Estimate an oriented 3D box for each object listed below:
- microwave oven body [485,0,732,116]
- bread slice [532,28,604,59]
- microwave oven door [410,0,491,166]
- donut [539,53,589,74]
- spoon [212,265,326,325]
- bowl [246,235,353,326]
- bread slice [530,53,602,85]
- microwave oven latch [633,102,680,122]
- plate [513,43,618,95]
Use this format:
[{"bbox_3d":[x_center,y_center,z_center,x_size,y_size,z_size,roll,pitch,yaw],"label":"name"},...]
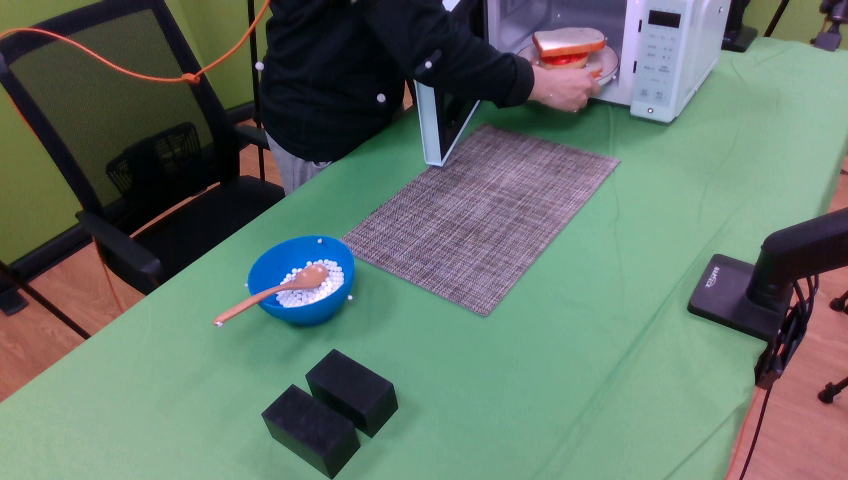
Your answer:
[{"bbox_3d":[0.377,-0.463,1.267,0.438,0.261,0.327,21,49,30],"label":"microwave oven body"},{"bbox_3d":[0.284,-0.389,1.184,0.131,0.019,0.104,-7,39,0],"label":"bread slice"},{"bbox_3d":[0.063,-0.342,1.164,0.039,0.245,0.355,9,43,18],"label":"microwave oven door"},{"bbox_3d":[0.279,-0.365,1.203,0.099,0.048,0.098,-4,44,5],"label":"donut"},{"bbox_3d":[-0.207,0.072,0.822,0.041,0.021,0.195,27,29,27],"label":"spoon"},{"bbox_3d":[-0.170,0.070,0.868,0.151,0.077,0.150,-4,41,4],"label":"bowl"},{"bbox_3d":[0.290,-0.351,1.222,0.134,0.018,0.106,-10,45,-4],"label":"bread slice"},{"bbox_3d":[0.444,-0.249,1.157,0.078,0.029,0.030,21,49,30],"label":"microwave oven latch"},{"bbox_3d":[0.283,-0.347,1.224,0.207,0.039,0.206,-5,43,5],"label":"plate"}]
